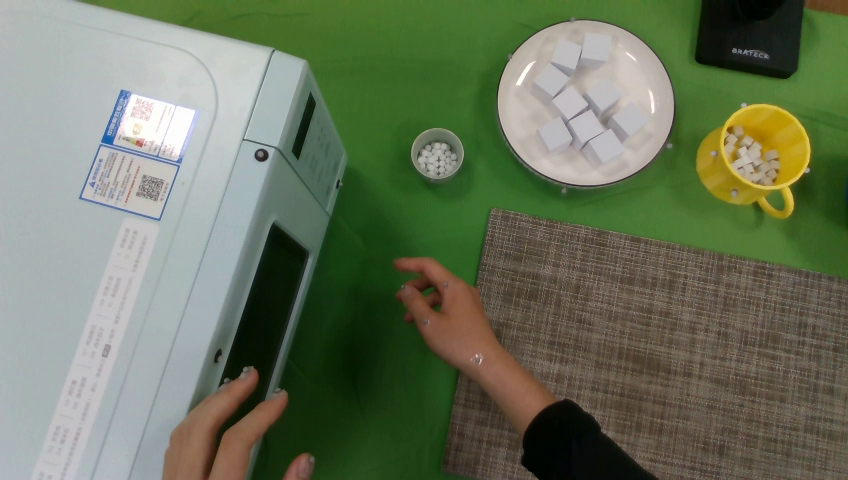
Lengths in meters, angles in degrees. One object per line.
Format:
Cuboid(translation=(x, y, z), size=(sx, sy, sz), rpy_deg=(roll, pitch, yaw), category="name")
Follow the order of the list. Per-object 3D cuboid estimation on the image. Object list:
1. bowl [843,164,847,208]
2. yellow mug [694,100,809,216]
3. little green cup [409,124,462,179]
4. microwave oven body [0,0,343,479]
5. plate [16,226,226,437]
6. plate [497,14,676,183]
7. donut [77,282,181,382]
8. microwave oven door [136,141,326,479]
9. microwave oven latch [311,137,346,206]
Cuboid(translation=(0.535, -0.055, 0.679), size=(0.151, 0.077, 0.151), rpy_deg=(0, 81, 1), category="bowl")
Cuboid(translation=(0.379, -0.087, 0.692), size=(0.100, 0.064, 0.130), rpy_deg=(-25, 82, -3), category="yellow mug")
Cuboid(translation=(0.014, -0.101, 0.710), size=(0.061, 0.039, 0.061), rpy_deg=(0, 82, 1), category="little green cup")
Cuboid(translation=(-0.303, 0.034, 0.575), size=(0.326, 0.261, 0.440), rpy_deg=(15, 82, 3), category="microwave oven body")
Cuboid(translation=(-0.303, 0.092, 0.619), size=(0.209, 0.038, 0.208), rpy_deg=(0, 81, 0), category="plate")
Cuboid(translation=(0.189, -0.165, 0.721), size=(0.208, 0.039, 0.207), rpy_deg=(0, 80, 1), category="plate")
Cuboid(translation=(-0.292, 0.091, 0.604), size=(0.099, 0.048, 0.099), rpy_deg=(0, 84, -2), category="donut")
Cuboid(translation=(-0.174, 0.111, 0.556), size=(0.039, 0.244, 0.354), rpy_deg=(14, 81, 3), category="microwave oven door")
Cuboid(translation=(-0.112, -0.081, 0.690), size=(0.030, 0.029, 0.079), rpy_deg=(18, 82, 3), category="microwave oven latch")
